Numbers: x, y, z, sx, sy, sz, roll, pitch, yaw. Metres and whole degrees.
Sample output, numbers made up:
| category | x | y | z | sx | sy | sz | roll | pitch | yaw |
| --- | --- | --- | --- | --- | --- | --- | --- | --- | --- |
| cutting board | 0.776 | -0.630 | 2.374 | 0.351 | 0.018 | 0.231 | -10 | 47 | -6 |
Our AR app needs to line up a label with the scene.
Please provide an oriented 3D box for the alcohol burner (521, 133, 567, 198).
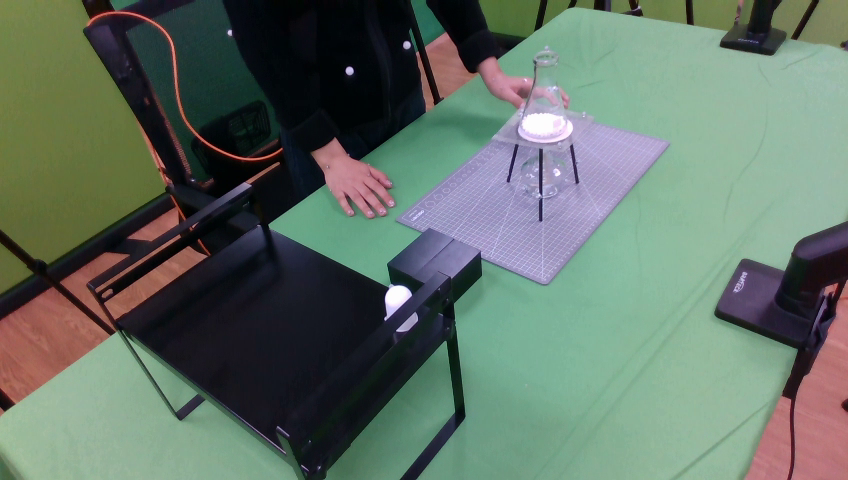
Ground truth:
| category | x | y | z | sx | sy | sz | roll | pitch | yaw |
| --- | --- | --- | --- | --- | --- | --- | --- | --- | --- |
| alcohol burner | 0.204 | -0.130 | 1.024 | 0.078 | 0.119 | 0.077 | -5 | 42 | 5 |

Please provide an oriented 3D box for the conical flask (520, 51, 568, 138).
| category | x | y | z | sx | sy | sz | roll | pitch | yaw |
| --- | --- | --- | --- | --- | --- | --- | --- | --- | --- |
| conical flask | 0.185 | -0.223 | 0.926 | 0.075 | 0.122 | 0.075 | -4 | 41 | 4 |

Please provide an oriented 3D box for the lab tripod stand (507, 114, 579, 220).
| category | x | y | z | sx | sy | sz | roll | pitch | yaw |
| --- | --- | --- | --- | --- | --- | --- | --- | --- | --- |
| lab tripod stand | 0.199 | -0.128 | 1.005 | 0.148 | 0.132 | 0.147 | -3 | 42 | 3 |

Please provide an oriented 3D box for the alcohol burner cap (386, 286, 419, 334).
| category | x | y | z | sx | sy | sz | roll | pitch | yaw |
| --- | --- | --- | --- | --- | --- | --- | --- | --- | --- |
| alcohol burner cap | -0.024 | 0.067 | 0.604 | 0.034 | 0.048 | 0.033 | -4 | 40 | 4 |

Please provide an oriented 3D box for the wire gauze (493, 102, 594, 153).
| category | x | y | z | sx | sy | sz | roll | pitch | yaw |
| --- | --- | --- | --- | --- | --- | --- | --- | --- | --- |
| wire gauze | 0.191 | -0.179 | 0.965 | 0.120 | 0.011 | 0.125 | 18 | 49 | 29 |
